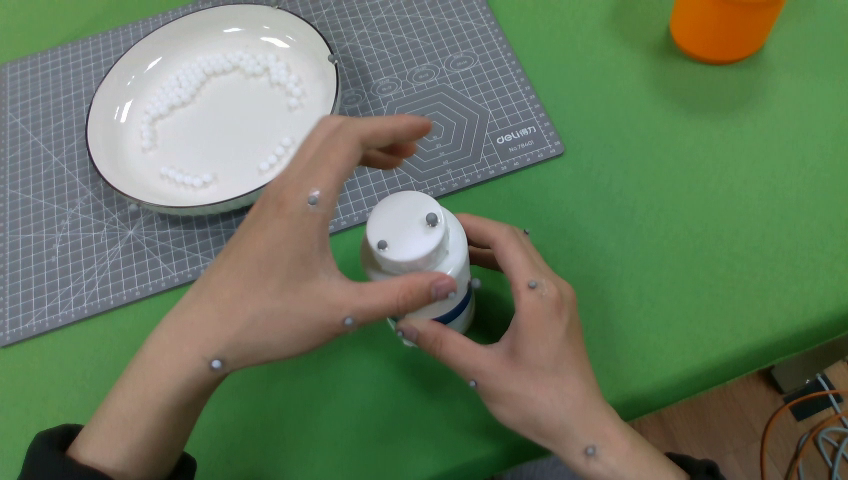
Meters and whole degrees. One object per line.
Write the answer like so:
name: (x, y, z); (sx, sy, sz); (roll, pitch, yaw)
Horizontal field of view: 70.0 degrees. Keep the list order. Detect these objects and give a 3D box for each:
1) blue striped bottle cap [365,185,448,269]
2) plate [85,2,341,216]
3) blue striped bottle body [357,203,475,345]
blue striped bottle cap: (-0.010, -0.007, 0.326); (0.044, 0.021, 0.044); (-2, 65, 5)
plate: (-0.167, -0.106, 0.497); (0.207, 0.039, 0.206); (-3, 63, 6)
blue striped bottle body: (-0.003, 0.017, 0.370); (0.063, 0.122, 0.062); (-3, 63, 7)
